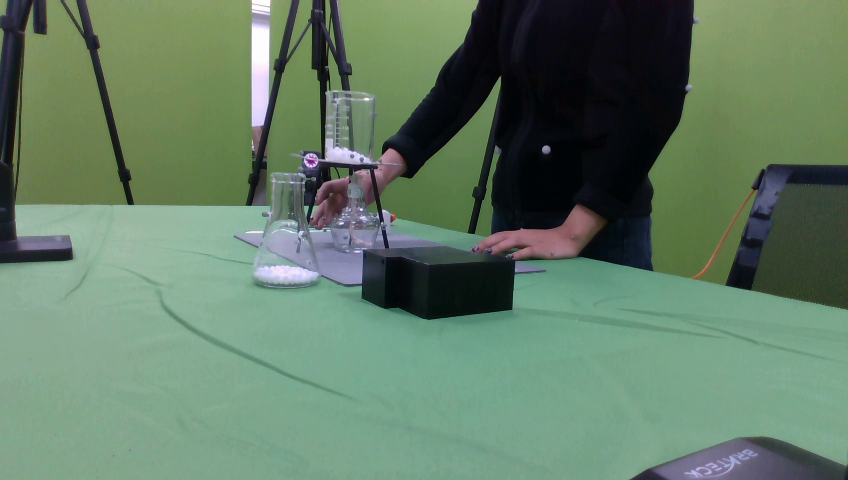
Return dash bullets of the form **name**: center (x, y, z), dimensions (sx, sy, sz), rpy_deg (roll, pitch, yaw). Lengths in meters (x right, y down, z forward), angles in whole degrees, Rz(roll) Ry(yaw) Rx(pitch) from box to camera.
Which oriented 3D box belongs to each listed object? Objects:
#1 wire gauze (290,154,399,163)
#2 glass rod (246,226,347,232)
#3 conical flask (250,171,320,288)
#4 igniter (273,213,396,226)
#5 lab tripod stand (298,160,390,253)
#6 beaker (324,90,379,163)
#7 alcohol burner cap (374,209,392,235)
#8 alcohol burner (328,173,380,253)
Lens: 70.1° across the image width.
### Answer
- **wire gauze**: center (-0.112, -0.114, 0.883), dimensions (0.124, 0.011, 0.122), rpy_deg (5, 5, 28)
- **glass rod**: center (-0.236, -0.021, 1.140), dimensions (0.201, 0.008, 0.008), rpy_deg (-2, 8, -33)
- **conical flask**: center (-0.150, -0.013, 0.658), dimensions (0.075, 0.122, 0.075), rpy_deg (2, 7, 0)
- **igniter**: center (-0.179, -0.044, 1.258), dimensions (0.278, 0.025, 0.057), rpy_deg (-3, -1, -39)
- **lab tripod stand**: center (-0.111, -0.050, 0.893), dimensions (0.148, 0.131, 0.148), rpy_deg (4, 6, 0)
- **beaker**: center (-0.110, -0.162, 0.879), dimensions (0.083, 0.100, 0.074), rpy_deg (8, 7, 36)
- **alcohol burner cap**: center (-0.078, -0.035, 1.148), dimensions (0.034, 0.048, 0.034), rpy_deg (2, 8, 0)
- **alcohol burner**: center (-0.104, -0.041, 0.902), dimensions (0.078, 0.119, 0.078), rpy_deg (1, 7, 0)
